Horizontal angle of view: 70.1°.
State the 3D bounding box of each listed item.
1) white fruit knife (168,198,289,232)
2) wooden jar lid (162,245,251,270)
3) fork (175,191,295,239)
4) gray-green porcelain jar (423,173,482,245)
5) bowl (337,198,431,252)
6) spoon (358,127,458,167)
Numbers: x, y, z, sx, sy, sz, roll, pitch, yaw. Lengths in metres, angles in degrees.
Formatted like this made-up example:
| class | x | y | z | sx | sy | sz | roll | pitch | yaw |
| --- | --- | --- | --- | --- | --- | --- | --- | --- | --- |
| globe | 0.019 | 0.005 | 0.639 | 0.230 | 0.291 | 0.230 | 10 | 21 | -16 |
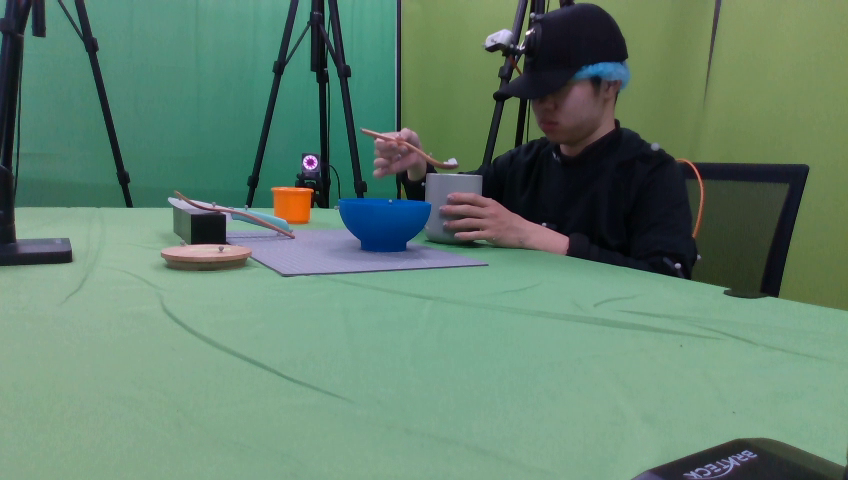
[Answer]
| class | x | y | z | sx | sy | sz | roll | pitch | yaw |
| --- | --- | --- | --- | --- | --- | --- | --- | --- | --- |
| white fruit knife | -0.329 | -0.044 | 1.036 | 0.208 | 0.027 | 0.016 | 14 | -1 | -32 |
| wooden jar lid | -0.278 | 0.022 | 0.777 | 0.108 | 0.020 | 0.108 | 2 | 6 | 0 |
| fork | -0.306 | -0.039 | 0.993 | 0.208 | 0.018 | 0.028 | 19 | -9 | -34 |
| gray-green porcelain jar | 0.051 | -0.058 | 1.115 | 0.106 | 0.126 | 0.106 | 3 | 8 | 0 |
| bowl | -0.066 | -0.024 | 0.967 | 0.151 | 0.077 | 0.151 | 3 | 7 | 0 |
| spoon | -0.030 | -0.170 | 1.096 | 0.193 | 0.021 | 0.041 | 25 | 10 | 6 |
